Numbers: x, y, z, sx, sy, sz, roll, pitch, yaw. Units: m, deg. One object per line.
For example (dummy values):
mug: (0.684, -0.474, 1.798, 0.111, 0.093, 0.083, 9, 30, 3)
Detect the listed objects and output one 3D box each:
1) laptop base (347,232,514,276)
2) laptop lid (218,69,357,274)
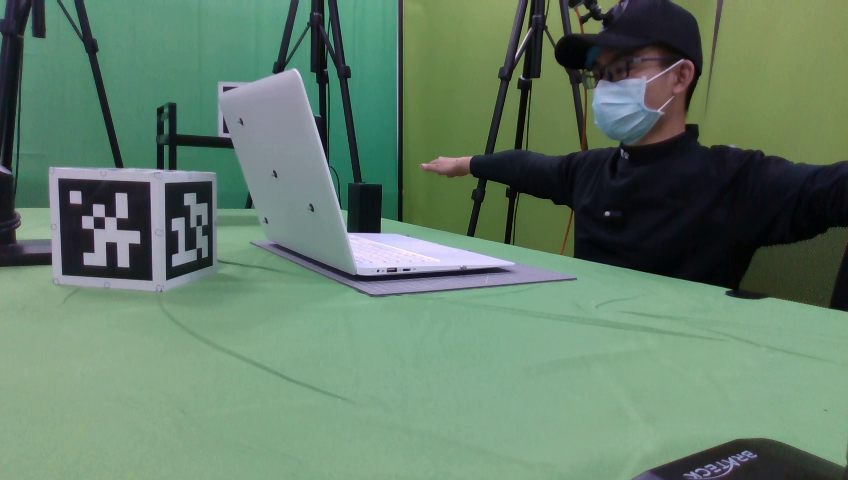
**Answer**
laptop base: (-0.066, 0.016, 0.893, 0.237, 0.023, 0.352, 2, 6, -32)
laptop lid: (-0.195, -0.090, 0.798, 0.013, 0.242, 0.355, -23, 20, -27)
